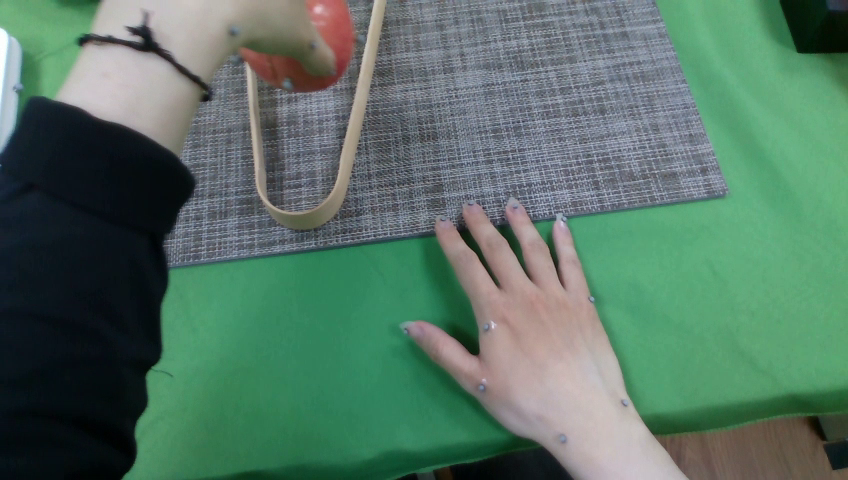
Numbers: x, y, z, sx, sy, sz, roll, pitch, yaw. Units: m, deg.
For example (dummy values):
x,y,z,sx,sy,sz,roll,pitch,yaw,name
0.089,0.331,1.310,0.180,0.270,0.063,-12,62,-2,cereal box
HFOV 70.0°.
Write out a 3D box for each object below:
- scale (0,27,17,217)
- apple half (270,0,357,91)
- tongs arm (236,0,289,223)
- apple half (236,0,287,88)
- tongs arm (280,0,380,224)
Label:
x,y,z,sx,sy,sz,roll,pitch,yaw,name
-0.418,-0.090,0.500,0.149,0.032,0.199,-12,66,-4,scale
-0.075,-0.147,0.428,0.053,0.075,0.080,-1,64,0,apple half
-0.151,-0.187,0.535,0.028,0.028,0.384,-8,65,-7,tongs arm
-0.113,-0.145,0.428,0.033,0.082,0.080,-1,65,0,apple half
-0.066,-0.190,0.533,0.051,0.027,0.382,4,66,2,tongs arm
